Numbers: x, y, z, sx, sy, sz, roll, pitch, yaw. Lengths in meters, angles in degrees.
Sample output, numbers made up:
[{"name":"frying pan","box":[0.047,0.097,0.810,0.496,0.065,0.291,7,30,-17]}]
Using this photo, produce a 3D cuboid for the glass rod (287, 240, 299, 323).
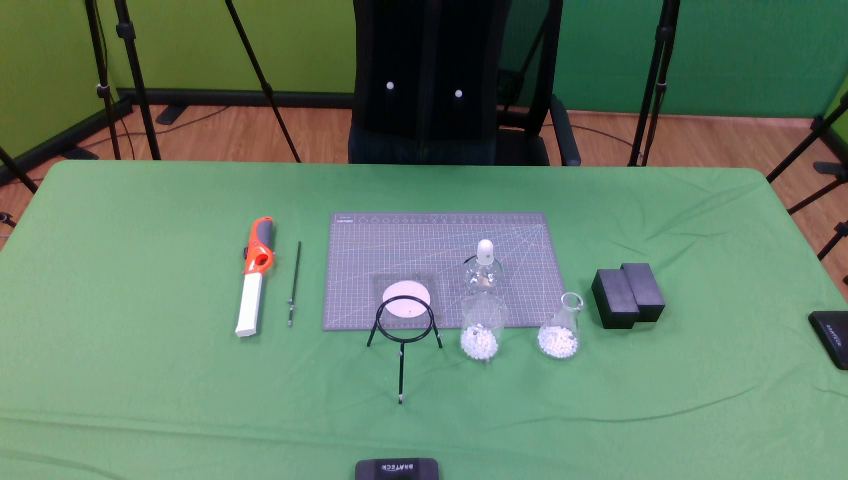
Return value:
[{"name":"glass rod","box":[-0.242,0.072,1.120,0.008,0.008,0.198,-1,47,-5]}]

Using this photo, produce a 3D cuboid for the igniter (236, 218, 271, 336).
[{"name":"igniter","box":[-0.312,0.058,1.115,0.057,0.025,0.274,-9,46,2]}]

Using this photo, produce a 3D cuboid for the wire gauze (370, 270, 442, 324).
[{"name":"wire gauze","box":[-0.035,0.104,1.103,0.125,0.011,0.120,-3,46,-5]}]

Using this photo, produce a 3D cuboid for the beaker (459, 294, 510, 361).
[{"name":"beaker","box":[0.094,0.147,1.012,0.083,0.101,0.074,26,49,21]}]

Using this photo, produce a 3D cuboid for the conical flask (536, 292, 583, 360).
[{"name":"conical flask","box":[0.234,0.139,1.015,0.075,0.122,0.075,2,46,-2]}]

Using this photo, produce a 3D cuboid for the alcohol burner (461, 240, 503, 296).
[{"name":"alcohol burner","box":[0.106,0.045,1.098,0.078,0.120,0.077,2,44,-1]}]

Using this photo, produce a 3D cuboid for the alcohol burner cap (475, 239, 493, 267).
[{"name":"alcohol burner cap","box":[0.107,0.020,1.071,0.034,0.048,0.033,-2,46,2]}]

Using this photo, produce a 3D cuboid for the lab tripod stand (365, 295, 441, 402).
[{"name":"lab tripod stand","box":[-0.031,0.160,0.966,0.148,0.132,0.147,3,44,-2]}]
